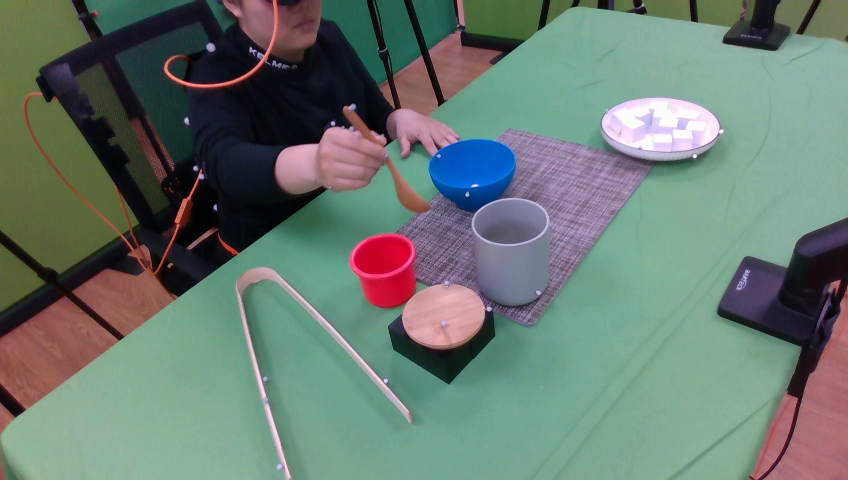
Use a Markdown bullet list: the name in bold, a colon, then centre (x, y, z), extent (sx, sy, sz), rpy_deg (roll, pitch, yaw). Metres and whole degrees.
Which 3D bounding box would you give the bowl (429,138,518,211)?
- **bowl**: centre (0.087, -0.104, 1.043), extent (0.151, 0.077, 0.150), rpy_deg (-5, 40, 5)

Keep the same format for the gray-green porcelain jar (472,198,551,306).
- **gray-green porcelain jar**: centre (0.125, 0.021, 0.850), extent (0.106, 0.127, 0.105), rpy_deg (-6, 40, 5)

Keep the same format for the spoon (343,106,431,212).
- **spoon**: centre (-0.046, -0.096, 0.760), extent (0.041, 0.195, 0.021), rpy_deg (2, 51, 38)

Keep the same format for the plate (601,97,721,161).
- **plate**: centre (0.437, -0.203, 1.126), extent (0.209, 0.038, 0.208), rpy_deg (-5, 39, 5)

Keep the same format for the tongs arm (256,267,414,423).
- **tongs arm**: centre (-0.137, 0.132, 0.853), extent (0.028, 0.028, 0.384), rpy_deg (-34, 46, -23)

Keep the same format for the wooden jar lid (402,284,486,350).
- **wooden jar lid**: centre (0.026, 0.101, 0.786), extent (0.108, 0.021, 0.108), rpy_deg (-5, 39, 4)

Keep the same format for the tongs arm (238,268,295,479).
- **tongs arm**: centre (-0.208, 0.163, 0.824), extent (0.051, 0.026, 0.381), rpy_deg (-22, 40, -16)
